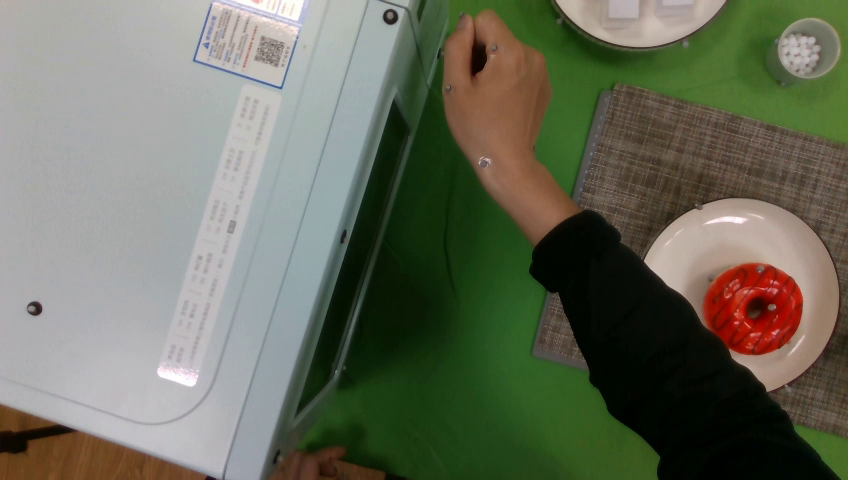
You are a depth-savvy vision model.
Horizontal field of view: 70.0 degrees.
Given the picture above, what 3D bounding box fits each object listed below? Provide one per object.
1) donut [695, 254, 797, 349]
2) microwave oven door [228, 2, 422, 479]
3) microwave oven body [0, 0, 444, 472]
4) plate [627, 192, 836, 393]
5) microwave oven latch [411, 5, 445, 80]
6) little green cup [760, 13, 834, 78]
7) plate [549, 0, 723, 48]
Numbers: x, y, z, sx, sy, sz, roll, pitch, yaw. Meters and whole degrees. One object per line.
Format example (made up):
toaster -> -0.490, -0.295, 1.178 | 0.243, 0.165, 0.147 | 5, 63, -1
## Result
donut -> 0.332, 0.064, 0.626 | 0.099, 0.048, 0.099 | 0, 93, 4
microwave oven door -> -0.075, 0.002, 0.540 | 0.039, 0.244, 0.356 | 17, 92, 3
microwave oven body -> -0.201, -0.083, 0.550 | 0.326, 0.260, 0.441 | 17, 93, 2
plate -> 0.317, 0.053, 0.638 | 0.209, 0.038, 0.209 | 0, 92, 4
microwave oven latch -> -0.001, -0.210, 0.631 | 0.030, 0.029, 0.079 | 20, 94, 2
little green cup -> 0.384, -0.199, 0.629 | 0.061, 0.038, 0.061 | 0, 91, 4
plate -> 0.220, -0.303, 0.635 | 0.207, 0.039, 0.207 | 0, 92, 3
